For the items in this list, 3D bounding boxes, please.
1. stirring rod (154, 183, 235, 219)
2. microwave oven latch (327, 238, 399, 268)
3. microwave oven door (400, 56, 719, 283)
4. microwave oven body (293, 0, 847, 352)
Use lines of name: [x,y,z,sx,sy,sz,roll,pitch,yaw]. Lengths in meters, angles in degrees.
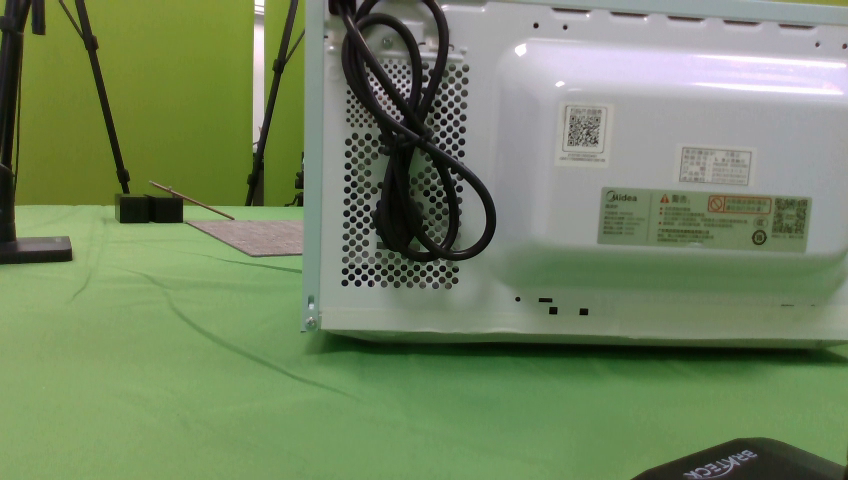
stirring rod: [-0.472,-0.079,1.252,0.177,0.006,0.014,27,4,-35]
microwave oven latch: [-0.069,0.015,0.694,0.079,0.029,0.030,3,7,-3]
microwave oven door: [0.155,-0.077,0.697,0.356,0.243,0.039,2,8,-5]
microwave oven body: [0.122,-0.055,0.550,0.442,0.260,0.325,3,7,-5]
